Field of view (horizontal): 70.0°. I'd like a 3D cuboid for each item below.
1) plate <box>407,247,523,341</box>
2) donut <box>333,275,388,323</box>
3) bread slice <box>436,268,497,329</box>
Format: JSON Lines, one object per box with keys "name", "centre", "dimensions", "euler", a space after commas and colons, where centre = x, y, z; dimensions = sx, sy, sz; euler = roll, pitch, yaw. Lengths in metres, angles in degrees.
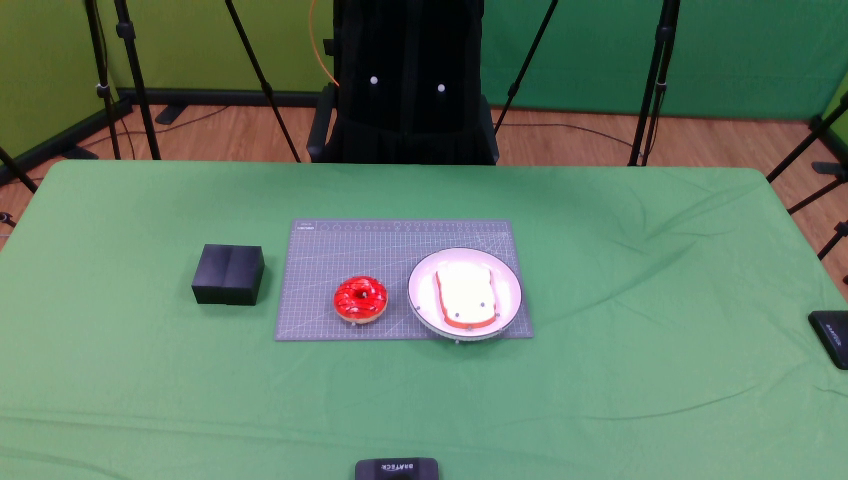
{"name": "plate", "centre": [0.073, 0.098, 1.093], "dimensions": [0.209, 0.038, 0.208], "euler": [2, 46, -2]}
{"name": "donut", "centre": [-0.112, 0.103, 1.072], "dimensions": [0.099, 0.048, 0.098], "euler": [0, 46, 0]}
{"name": "bread slice", "centre": [0.080, 0.103, 1.091], "dimensions": [0.105, 0.019, 0.130], "euler": [-3, 46, -5]}
